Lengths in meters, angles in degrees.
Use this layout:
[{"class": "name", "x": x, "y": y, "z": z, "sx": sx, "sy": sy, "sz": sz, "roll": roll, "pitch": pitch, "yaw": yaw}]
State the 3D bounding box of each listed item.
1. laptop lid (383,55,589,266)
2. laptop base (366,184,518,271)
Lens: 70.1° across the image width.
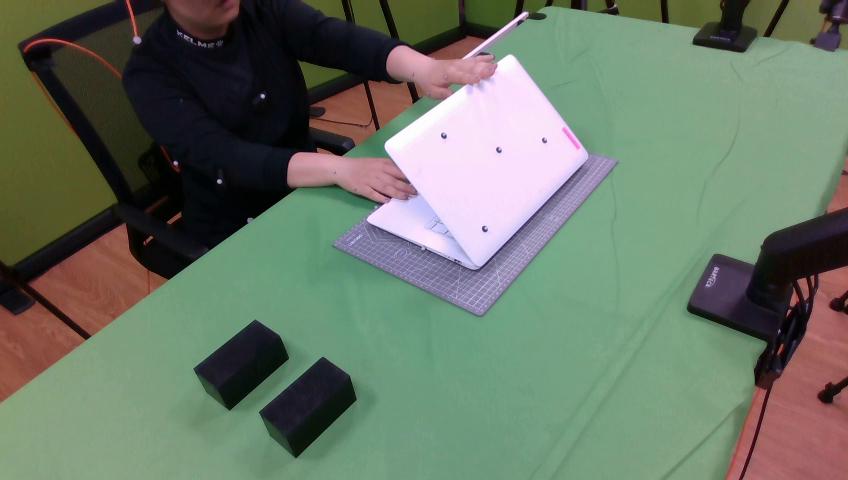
[{"class": "laptop lid", "x": 0.118, "y": -0.144, "z": 0.979, "sx": 0.358, "sy": 0.013, "sz": 0.242, "roll": -40, "pitch": 95, "yaw": -34}, {"class": "laptop base", "x": 0.099, "y": -0.085, "z": 1.058, "sx": 0.233, "sy": 0.023, "sz": 0.355, "roll": 21, "pitch": 48, "yaw": 34}]
